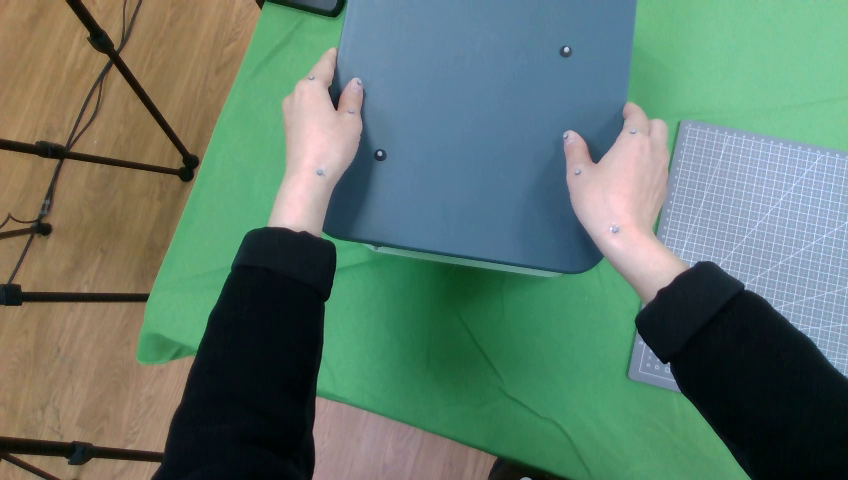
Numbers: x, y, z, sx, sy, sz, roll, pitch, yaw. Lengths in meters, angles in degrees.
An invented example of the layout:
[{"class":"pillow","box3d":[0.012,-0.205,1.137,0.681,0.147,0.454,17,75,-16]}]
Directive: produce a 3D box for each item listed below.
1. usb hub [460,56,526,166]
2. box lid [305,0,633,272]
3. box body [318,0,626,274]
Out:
[{"class":"usb hub","box3d":[0.079,-0.148,0.693,0.049,0.025,0.124,14,77,7]},{"class":"box lid","box3d":[0.050,-0.164,0.548,0.263,0.015,0.370,9,80,2]},{"class":"box body","box3d":[0.060,-0.157,0.639,0.254,0.161,0.362,8,80,7]}]
